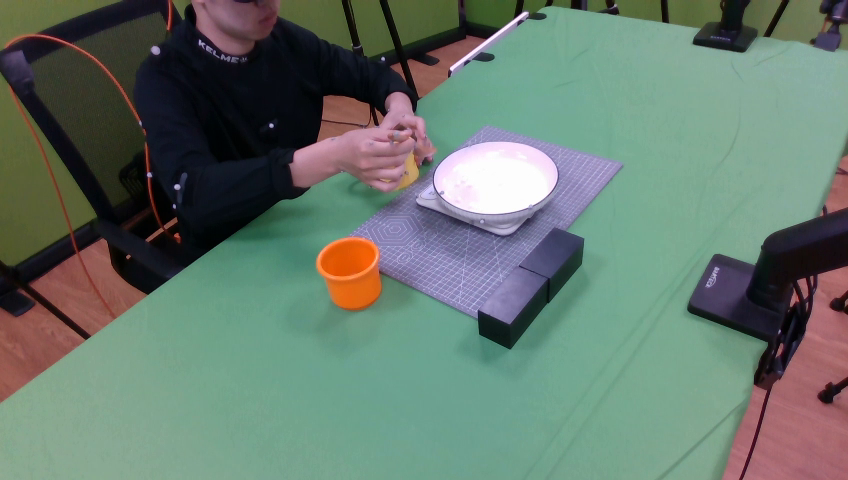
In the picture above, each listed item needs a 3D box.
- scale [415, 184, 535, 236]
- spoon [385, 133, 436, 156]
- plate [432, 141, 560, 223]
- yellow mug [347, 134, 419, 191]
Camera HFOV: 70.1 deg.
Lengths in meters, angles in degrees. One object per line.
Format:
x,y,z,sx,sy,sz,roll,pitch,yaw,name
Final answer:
0.099,-0.079,1.035,0.199,0.032,0.149,23,48,31,scale
-0.024,-0.151,0.939,0.041,0.021,0.195,-5,-3,18,spoon
0.118,-0.094,0.999,0.209,0.038,0.208,-4,41,4,plate
-0.078,-0.142,1.115,0.131,0.064,0.099,-7,39,3,yellow mug
